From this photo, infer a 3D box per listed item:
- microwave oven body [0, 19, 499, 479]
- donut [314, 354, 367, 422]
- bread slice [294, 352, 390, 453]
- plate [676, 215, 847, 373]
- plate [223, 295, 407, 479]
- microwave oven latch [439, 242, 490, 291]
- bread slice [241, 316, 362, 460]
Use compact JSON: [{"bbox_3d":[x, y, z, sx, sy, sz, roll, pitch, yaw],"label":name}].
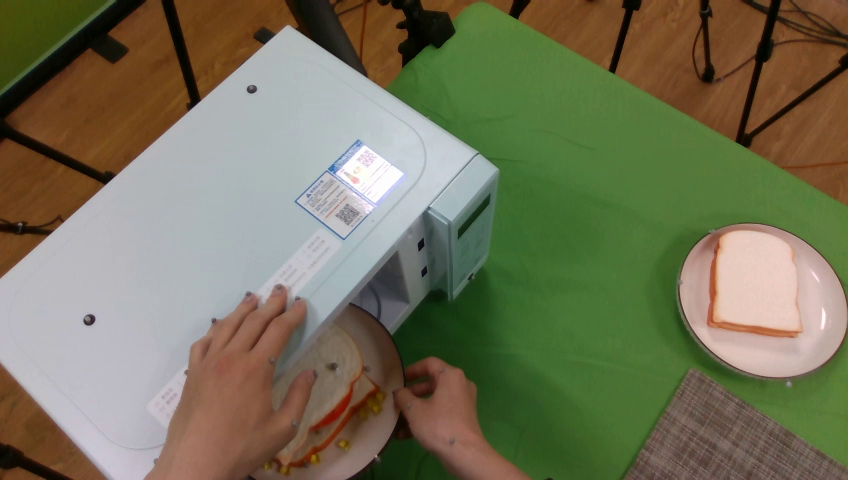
[{"bbox_3d":[-0.179,0.034,0.690,0.324,0.262,0.441,36,74,16],"label":"microwave oven body"},{"bbox_3d":[-0.109,0.144,0.641,0.099,0.048,0.098,4,59,-7],"label":"donut"},{"bbox_3d":[-0.115,0.166,0.662,0.131,0.019,0.104,-35,71,-19],"label":"bread slice"},{"bbox_3d":[0.424,0.069,0.773,0.207,0.039,0.206,-1,67,2],"label":"plate"},{"bbox_3d":[-0.121,0.158,0.663,0.209,0.038,0.207,-1,66,3],"label":"plate"},{"bbox_3d":[0.053,0.028,0.788,0.030,0.030,0.079,40,75,17],"label":"microwave oven latch"},{"bbox_3d":[-0.131,0.135,0.614,0.106,0.018,0.134,36,67,13],"label":"bread slice"}]
